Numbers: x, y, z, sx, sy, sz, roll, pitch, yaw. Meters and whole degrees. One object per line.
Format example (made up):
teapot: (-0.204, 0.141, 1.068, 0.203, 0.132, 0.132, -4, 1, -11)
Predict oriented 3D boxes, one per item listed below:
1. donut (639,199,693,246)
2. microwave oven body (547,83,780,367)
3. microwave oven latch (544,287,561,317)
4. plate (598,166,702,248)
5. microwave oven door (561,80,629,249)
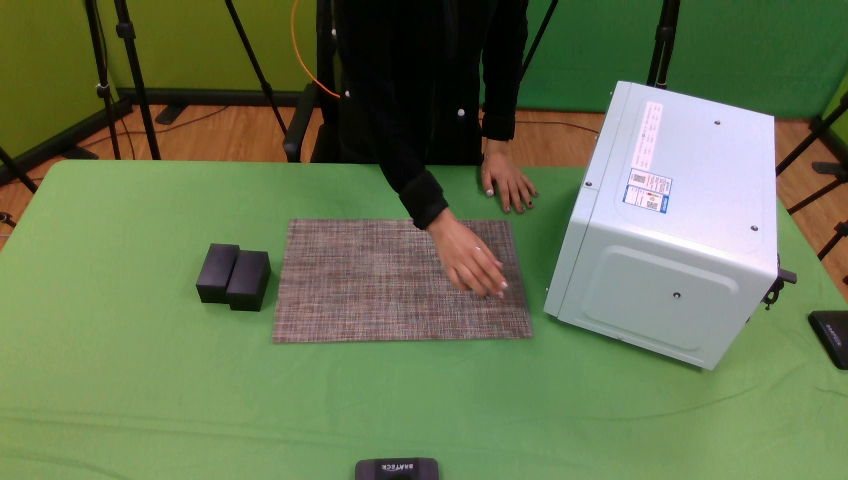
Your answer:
donut: (0.462, -0.034, 1.160, 0.099, 0.048, 0.098, 0, 62, 1)
microwave oven body: (0.445, -0.041, 1.101, 0.325, 0.261, 0.440, 17, 47, 13)
microwave oven latch: (0.237, 0.099, 1.087, 0.030, 0.029, 0.079, 17, 47, 13)
plate: (0.432, -0.061, 1.175, 0.209, 0.038, 0.208, 8, 47, -9)
microwave oven door: (0.324, -0.116, 1.156, 0.039, 0.245, 0.354, 18, 48, 13)
